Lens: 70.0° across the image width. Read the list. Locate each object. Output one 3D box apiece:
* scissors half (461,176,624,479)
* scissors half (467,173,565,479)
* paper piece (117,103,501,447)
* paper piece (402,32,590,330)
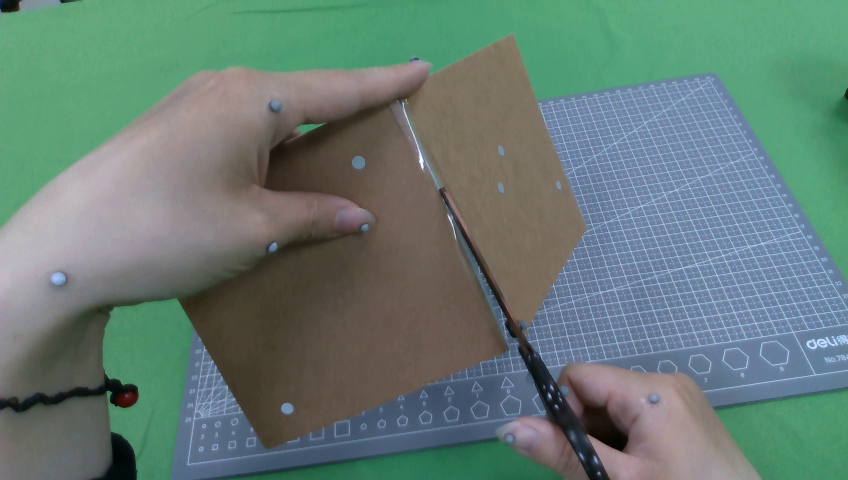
[{"bbox_3d":[0.052,0.050,0.276,0.013,0.040,0.174,-21,83,-22],"label":"scissors half"},{"bbox_3d":[0.046,0.051,0.296,0.013,0.176,0.040,-20,14,-17],"label":"scissors half"},{"bbox_3d":[-0.050,0.023,0.290,0.138,0.137,0.008,-22,15,2],"label":"paper piece"},{"bbox_3d":[0.052,-0.038,0.333,0.004,0.136,0.135,-16,18,37],"label":"paper piece"}]
